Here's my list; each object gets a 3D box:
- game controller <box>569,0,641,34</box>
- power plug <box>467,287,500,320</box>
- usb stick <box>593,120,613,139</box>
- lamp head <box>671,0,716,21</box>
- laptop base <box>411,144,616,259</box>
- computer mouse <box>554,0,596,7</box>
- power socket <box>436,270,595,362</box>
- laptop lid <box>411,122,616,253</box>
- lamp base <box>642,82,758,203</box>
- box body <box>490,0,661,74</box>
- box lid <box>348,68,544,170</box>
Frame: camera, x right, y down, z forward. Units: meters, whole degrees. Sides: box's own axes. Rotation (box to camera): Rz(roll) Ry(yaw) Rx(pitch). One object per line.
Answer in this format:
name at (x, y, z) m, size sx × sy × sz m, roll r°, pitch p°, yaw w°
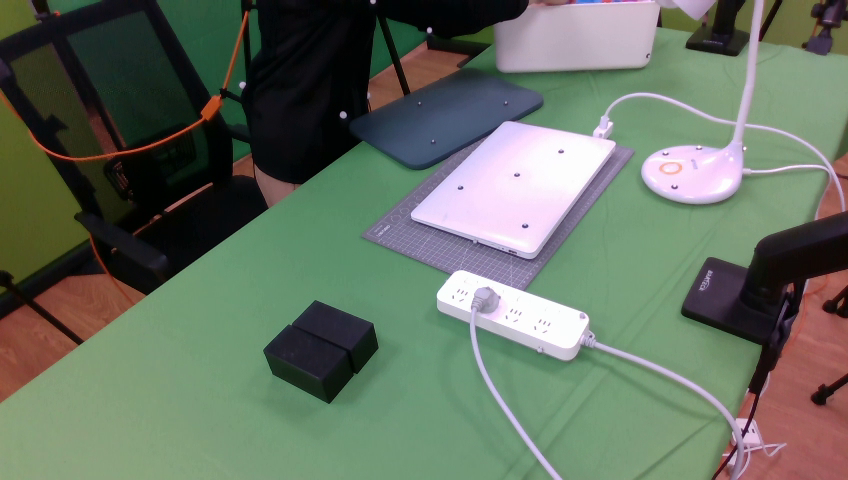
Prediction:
game controller at (0.421, -0.522, 1.395) m, size 0.155 × 0.052 × 0.096 m, roll -9°, pitch 44°, yaw -3°
power plug at (0.073, 0.092, 0.814) m, size 0.035 × 0.053 × 0.073 m, roll 29°, pitch 54°, yaw 34°
usb stick at (0.336, -0.201, 1.147) m, size 0.021 × 0.027 × 0.059 m, roll 26°, pitch 53°, yaw 27°
lamp head at (0.375, -0.373, 0.807) m, size 0.122 × 0.113 × 0.112 m, roll -40°, pitch 27°, yaw 32°
laptop base at (0.168, -0.101, 1.074) m, size 0.234 × 0.023 × 0.355 m, roll 17°, pitch 46°, yaw 30°
computer mouse at (0.374, -0.560, 1.454) m, size 0.117 × 0.041 × 0.062 m, roll -2°, pitch 37°, yaw 0°
power socket at (0.118, 0.101, 0.832) m, size 0.225 × 0.033 × 0.072 m, roll 19°, pitch 48°, yaw 27°
laptop lid at (0.164, -0.111, 1.067) m, size 0.240 × 0.013 × 0.357 m, roll 19°, pitch 46°, yaw 31°
lamp base at (0.464, -0.174, 0.992) m, size 0.179 × 0.181 × 0.159 m, roll -5°, pitch 41°, yaw -2°
box body at (0.346, -0.520, 1.429) m, size 0.363 × 0.161 × 0.253 m, roll 0°, pitch 41°, yaw 9°
box lid at (0.049, -0.272, 1.298) m, size 0.373 × 0.015 × 0.261 m, roll -31°, pitch 45°, yaw -25°
